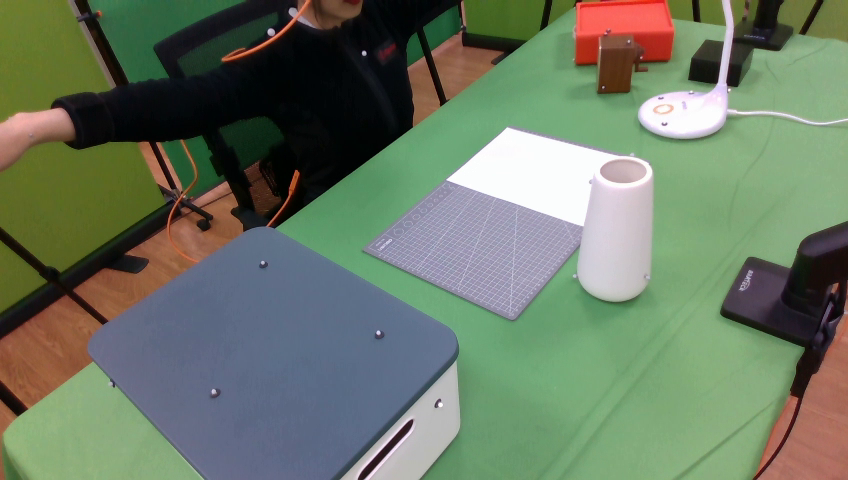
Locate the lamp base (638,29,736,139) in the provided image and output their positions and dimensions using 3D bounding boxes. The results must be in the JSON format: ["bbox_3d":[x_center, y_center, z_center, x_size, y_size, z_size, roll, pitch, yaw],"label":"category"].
[{"bbox_3d":[0.501,-0.302,1.125,0.179,0.181,0.160,-4,40,3],"label":"lamp base"}]

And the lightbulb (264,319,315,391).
[{"bbox_3d":[-0.175,0.154,0.805,0.060,0.060,0.107,-24,58,-17],"label":"lightbulb"}]

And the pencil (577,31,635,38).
[{"bbox_3d":[0.431,-0.489,1.443,0.012,0.012,0.192,-25,30,-18],"label":"pencil"}]

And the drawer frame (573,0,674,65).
[{"bbox_3d":[0.464,-0.492,1.434,0.213,0.083,0.201,1,40,12],"label":"drawer frame"}]

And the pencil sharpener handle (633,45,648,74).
[{"bbox_3d":[0.454,-0.378,1.262,0.030,0.068,0.036,1,47,13],"label":"pencil sharpener handle"}]

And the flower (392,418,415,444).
[{"bbox_3d":[-0.153,0.228,0.743,0.360,0.038,0.044,-2,44,16],"label":"flower"}]

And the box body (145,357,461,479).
[{"bbox_3d":[-0.162,0.170,0.708,0.361,0.161,0.255,25,50,34],"label":"box body"}]

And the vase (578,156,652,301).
[{"bbox_3d":[0.261,-0.011,0.812,0.098,0.201,0.097,-4,40,4],"label":"vase"}]

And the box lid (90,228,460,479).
[{"bbox_3d":[-0.173,0.112,0.662,0.368,0.015,0.264,25,50,35],"label":"box lid"}]

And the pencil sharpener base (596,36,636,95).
[{"bbox_3d":[0.406,-0.369,1.280,0.076,0.107,0.061,1,41,13],"label":"pencil sharpener base"}]

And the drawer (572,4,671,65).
[{"bbox_3d":[0.461,-0.490,1.435,0.211,0.073,0.194,2,41,12],"label":"drawer"}]
